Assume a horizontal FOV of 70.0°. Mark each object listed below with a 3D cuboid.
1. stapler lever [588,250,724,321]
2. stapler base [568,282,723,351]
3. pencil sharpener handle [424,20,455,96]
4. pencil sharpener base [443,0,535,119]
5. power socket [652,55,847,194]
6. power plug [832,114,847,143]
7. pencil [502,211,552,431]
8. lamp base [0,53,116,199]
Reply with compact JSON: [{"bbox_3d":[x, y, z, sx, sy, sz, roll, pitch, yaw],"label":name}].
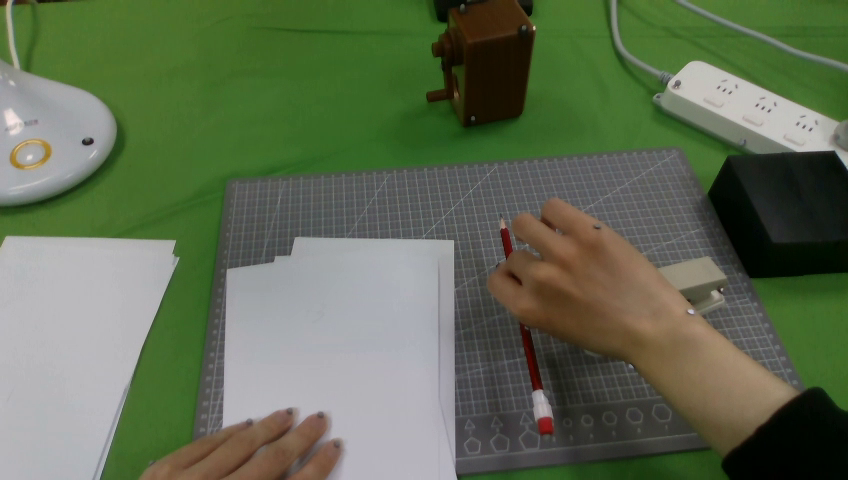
[{"bbox_3d":[0.181,0.031,0.466,0.118,0.040,0.026,-18,55,-15],"label":"stapler lever"},{"bbox_3d":[0.180,0.048,0.484,0.131,0.024,0.041,-18,55,-16],"label":"stapler base"},{"bbox_3d":[0.013,-0.175,0.587,0.031,0.068,0.035,-14,32,-10],"label":"pencil sharpener handle"},{"bbox_3d":[0.060,-0.183,0.610,0.077,0.108,0.060,-14,54,-10],"label":"pencil sharpener base"},{"bbox_3d":[0.347,-0.122,0.612,0.225,0.033,0.072,35,60,24],"label":"power socket"},{"bbox_3d":[0.421,-0.114,0.577,0.072,0.053,0.035,-33,59,-21],"label":"power plug"},{"bbox_3d":[0.073,0.049,0.453,0.012,0.012,0.192,-3,50,-2],"label":"pencil"},{"bbox_3d":[-0.396,-0.156,0.540,0.160,0.182,0.177,-31,56,-22],"label":"lamp base"}]
